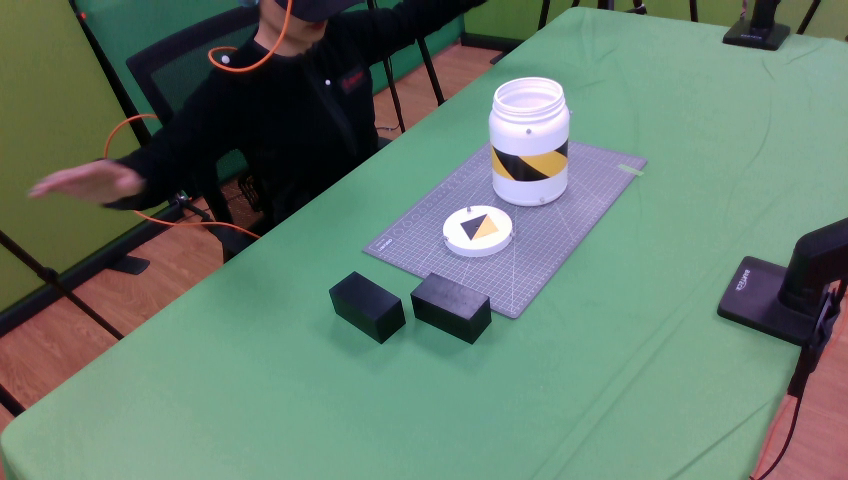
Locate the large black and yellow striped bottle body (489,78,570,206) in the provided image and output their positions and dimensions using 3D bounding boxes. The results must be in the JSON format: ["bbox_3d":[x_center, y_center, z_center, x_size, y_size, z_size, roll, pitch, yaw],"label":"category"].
[{"bbox_3d":[0.177,-0.164,1.012,0.131,0.185,0.130,-5,40,5],"label":"large black and yellow striped bottle body"}]

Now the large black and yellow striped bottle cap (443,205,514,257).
[{"bbox_3d":[0.088,-0.016,0.986,0.115,0.019,0.114,-4,41,4],"label":"large black and yellow striped bottle cap"}]
